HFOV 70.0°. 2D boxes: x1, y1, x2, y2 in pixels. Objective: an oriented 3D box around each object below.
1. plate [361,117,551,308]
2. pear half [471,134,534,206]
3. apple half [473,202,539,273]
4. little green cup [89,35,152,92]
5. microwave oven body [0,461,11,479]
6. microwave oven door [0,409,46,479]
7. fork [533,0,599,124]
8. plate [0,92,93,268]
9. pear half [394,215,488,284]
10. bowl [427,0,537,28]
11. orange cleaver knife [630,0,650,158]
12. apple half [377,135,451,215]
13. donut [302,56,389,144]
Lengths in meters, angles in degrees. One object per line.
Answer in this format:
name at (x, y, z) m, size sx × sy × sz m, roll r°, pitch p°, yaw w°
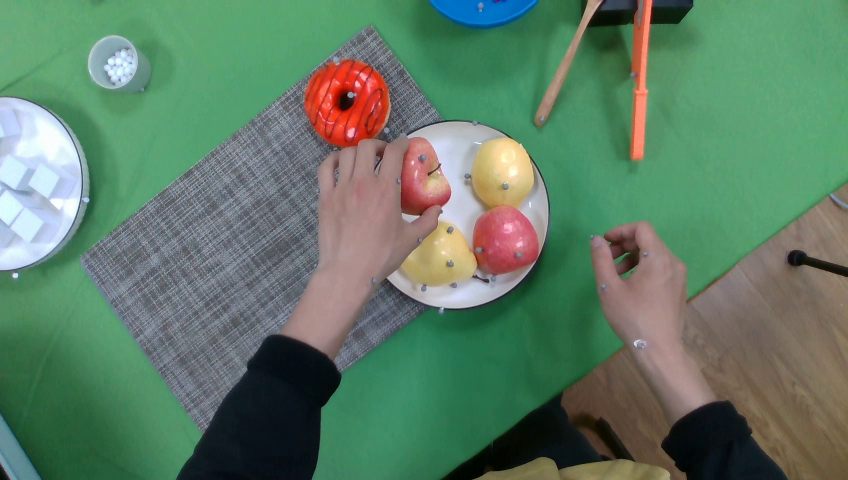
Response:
plate at (0.035, -0.030, 0.674) m, size 0.209 × 0.038 × 0.209 m, roll 0°, pitch 91°, yaw 5°
pear half at (0.081, -0.069, 0.655) m, size 0.070 × 0.031 × 0.088 m, roll -2°, pitch 104°, yaw 30°
apple half at (0.080, 0.000, 0.652) m, size 0.081 × 0.033 × 0.081 m, roll 6°, pitch 104°, yaw 27°
little green cup at (-0.355, -0.205, 0.714) m, size 0.061 × 0.038 × 0.061 m, roll 0°, pitch 90°, yaw 6°
microwave oven body at (-0.603, 0.373, 0.630) m, size 0.326 × 0.260 × 0.441 m, roll -35°, pitch 88°, yaw 4°
microwave oven door at (-0.459, 0.325, 0.610) m, size 0.039 × 0.244 × 0.355 m, roll -35°, pitch 87°, yaw 5°
fork at (0.162, -0.219, 0.639) m, size 0.028 × 0.018 × 0.208 m, roll 21°, pitch 113°, yaw -2°
plate at (-0.493, -0.070, 0.729) m, size 0.207 × 0.039 × 0.207 m, roll 0°, pitch 90°, yaw 6°
pear half at (0.024, 0.018, 0.662) m, size 0.110 × 0.056 × 0.076 m, roll 26°, pitch 98°, yaw -2°
bowl at (0.064, -0.294, 0.652) m, size 0.151 × 0.077 × 0.151 m, roll 0°, pitch 91°, yaw 5°
orange cleaver knife at (0.226, -0.194, 0.635) m, size 0.012 × 0.077 × 0.213 m, roll -1°, pitch 116°, yaw 11°
apple half at (-0.018, -0.061, 0.622) m, size 0.053 × 0.074 × 0.081 m, roll -31°, pitch 108°, yaw -30°
donut at (-0.088, -0.157, 0.681) m, size 0.099 × 0.048 × 0.099 m, roll 0°, pitch 92°, yaw 8°
